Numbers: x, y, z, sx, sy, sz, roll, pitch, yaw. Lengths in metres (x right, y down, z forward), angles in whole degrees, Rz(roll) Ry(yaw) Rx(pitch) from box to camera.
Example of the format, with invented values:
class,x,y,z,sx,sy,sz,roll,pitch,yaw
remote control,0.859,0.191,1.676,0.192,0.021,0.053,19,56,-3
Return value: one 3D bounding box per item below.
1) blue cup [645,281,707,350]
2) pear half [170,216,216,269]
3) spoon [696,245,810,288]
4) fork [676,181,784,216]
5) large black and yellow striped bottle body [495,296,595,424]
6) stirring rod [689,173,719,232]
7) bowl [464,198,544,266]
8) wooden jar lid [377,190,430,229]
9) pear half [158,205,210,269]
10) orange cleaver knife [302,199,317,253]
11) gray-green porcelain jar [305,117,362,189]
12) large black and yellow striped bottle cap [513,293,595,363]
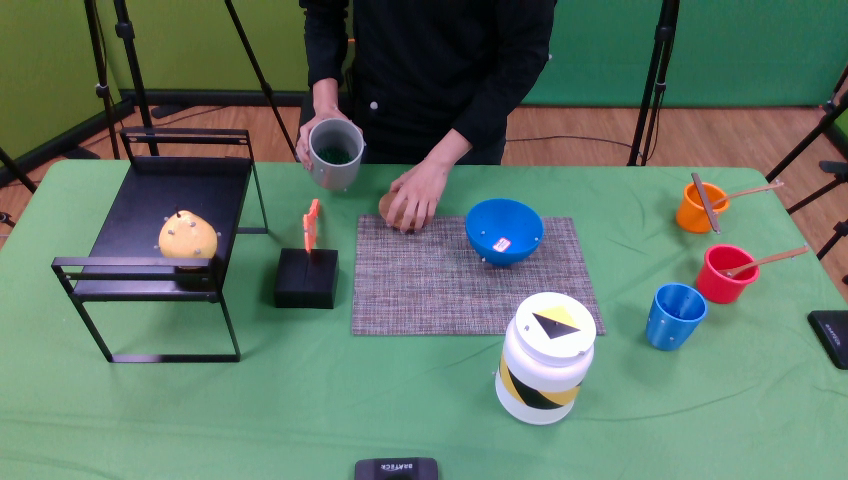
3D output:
class,x,y,z,sx,sy,sz,roll,pitch,yaw
blue cup,0.425,0.136,1.042,0.092,0.101,0.092,1,45,-1
pear half,-0.323,0.007,0.866,0.031,0.088,0.070,25,46,20
spoon,0.601,0.047,1.114,0.193,0.022,0.041,-27,36,33
fork,0.618,-0.084,1.235,0.207,0.019,0.028,-23,21,38
large black and yellow striped bottle body,0.183,0.182,0.923,0.131,0.185,0.130,2,46,-2
stirring rod,0.566,-0.079,1.225,0.014,0.006,0.175,2,46,2
bowl,0.149,-0.004,1.167,0.151,0.077,0.150,2,46,-2
wooden jar lid,-0.043,-0.060,1.240,0.108,0.021,0.107,8,43,-8
pear half,-0.352,-0.015,0.872,0.056,0.110,0.076,25,46,19
orange cleaver knife,-0.219,-0.031,1.168,0.012,0.077,0.210,-5,17,-3
gray-green porcelain jar,-0.183,-0.167,1.207,0.106,0.127,0.105,5,70,-13
large black and yellow striped bottle cap,0.186,0.123,0.863,0.115,0.019,0.114,3,45,-3
